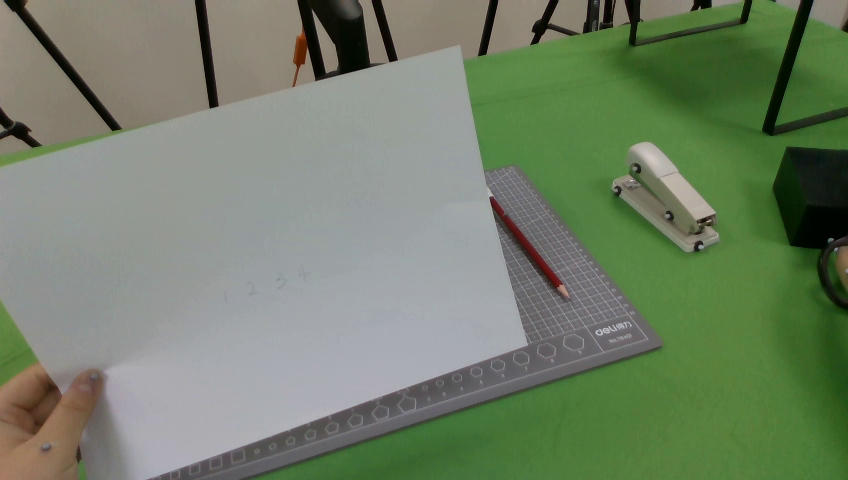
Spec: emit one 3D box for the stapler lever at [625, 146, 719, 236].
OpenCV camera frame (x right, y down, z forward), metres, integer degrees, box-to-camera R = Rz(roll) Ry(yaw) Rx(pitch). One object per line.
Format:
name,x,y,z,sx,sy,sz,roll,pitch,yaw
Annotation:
stapler lever,0.245,-0.052,0.604,0.027,0.040,0.116,-20,43,-13

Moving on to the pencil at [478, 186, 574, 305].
pencil,0.098,0.000,0.603,0.012,0.012,0.191,-17,43,-14

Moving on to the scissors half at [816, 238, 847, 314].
scissors half,0.378,-0.020,0.535,0.040,0.013,0.174,10,76,32

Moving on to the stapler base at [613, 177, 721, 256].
stapler base,0.246,-0.034,0.622,0.041,0.025,0.129,-20,43,-13
